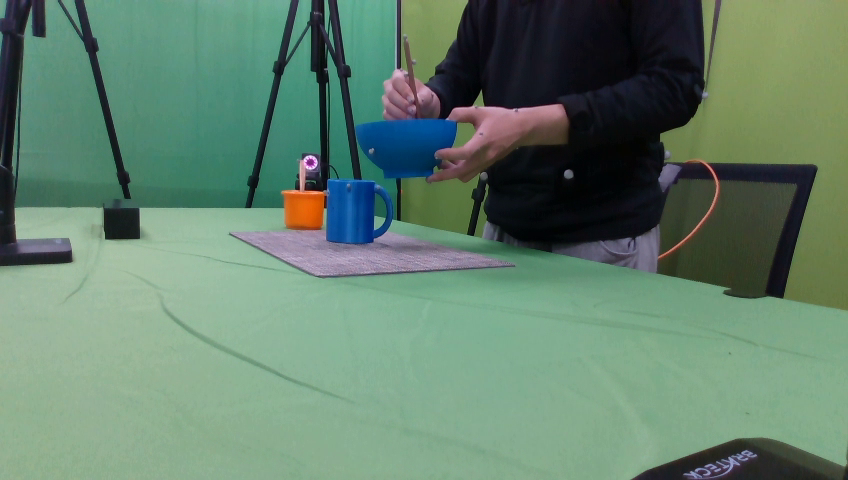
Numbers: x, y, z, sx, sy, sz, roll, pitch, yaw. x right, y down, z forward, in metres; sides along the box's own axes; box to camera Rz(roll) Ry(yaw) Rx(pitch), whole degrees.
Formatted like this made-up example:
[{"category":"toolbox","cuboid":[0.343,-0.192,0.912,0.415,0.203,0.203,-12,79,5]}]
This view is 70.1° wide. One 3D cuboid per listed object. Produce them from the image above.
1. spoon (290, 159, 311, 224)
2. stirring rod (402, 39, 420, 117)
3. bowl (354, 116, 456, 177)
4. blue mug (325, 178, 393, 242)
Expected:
[{"category":"spoon","cuboid":[-0.256,-0.104,1.265,0.042,0.193,0.021,1,-37,-9]},{"category":"stirring rod","cuboid":[-0.014,-0.204,0.885,0.006,0.176,0.014,-13,9,-19]},{"category":"bowl","cuboid":[-0.026,-0.132,0.883,0.151,0.077,0.151,-3,5,1]},{"category":"blue mug","cuboid":[-0.111,-0.052,1.034,0.116,0.106,0.082,3,7,7]}]
